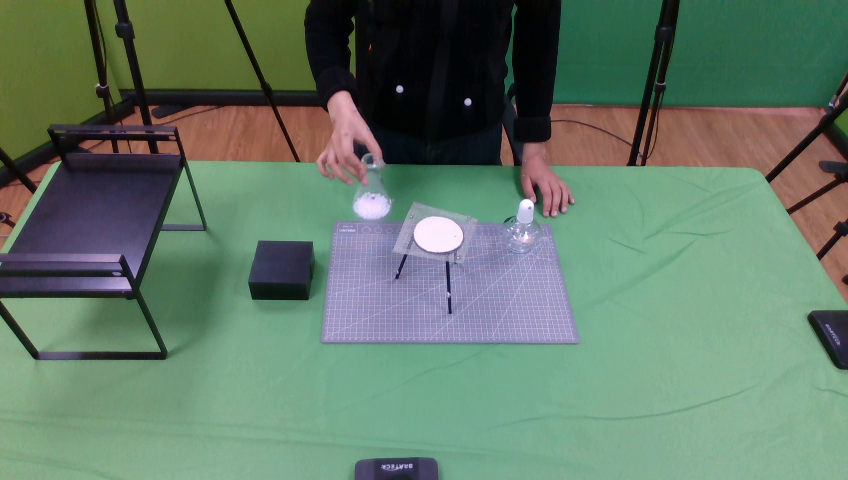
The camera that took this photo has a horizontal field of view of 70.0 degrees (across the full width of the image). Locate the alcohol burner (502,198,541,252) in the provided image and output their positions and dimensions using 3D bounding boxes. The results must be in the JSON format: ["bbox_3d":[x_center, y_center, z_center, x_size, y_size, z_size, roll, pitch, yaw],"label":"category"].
[{"bbox_3d":[0.192,-0.033,1.178,0.078,0.119,0.077,3,45,-2],"label":"alcohol burner"}]

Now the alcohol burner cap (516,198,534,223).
[{"bbox_3d":[0.194,-0.059,1.152,0.034,0.048,0.033,0,50,1],"label":"alcohol burner cap"}]

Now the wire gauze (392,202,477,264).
[{"bbox_3d":[0.020,-0.011,1.037,0.121,0.011,0.124,14,47,8],"label":"wire gauze"}]

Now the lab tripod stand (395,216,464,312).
[{"bbox_3d":[0.023,0.036,1.084,0.148,0.132,0.147,4,46,-4],"label":"lab tripod stand"}]

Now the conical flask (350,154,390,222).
[{"bbox_3d":[-0.098,-0.098,1.103,0.075,0.122,0.075,3,47,-3],"label":"conical flask"}]
